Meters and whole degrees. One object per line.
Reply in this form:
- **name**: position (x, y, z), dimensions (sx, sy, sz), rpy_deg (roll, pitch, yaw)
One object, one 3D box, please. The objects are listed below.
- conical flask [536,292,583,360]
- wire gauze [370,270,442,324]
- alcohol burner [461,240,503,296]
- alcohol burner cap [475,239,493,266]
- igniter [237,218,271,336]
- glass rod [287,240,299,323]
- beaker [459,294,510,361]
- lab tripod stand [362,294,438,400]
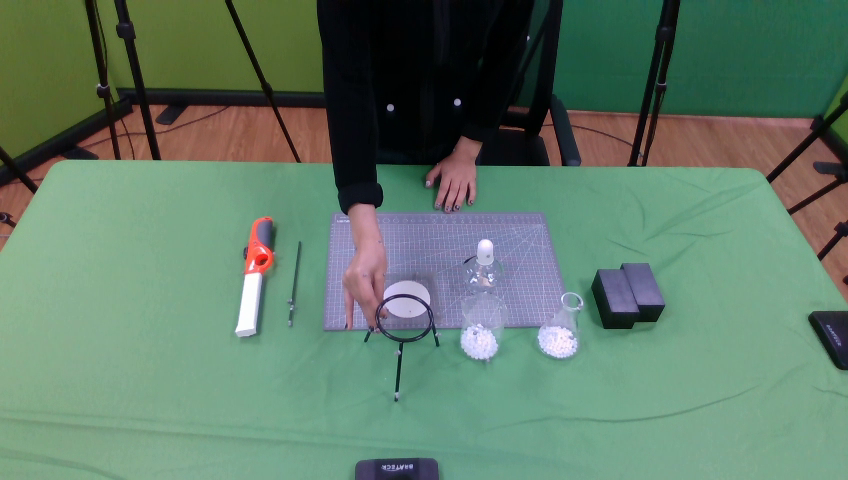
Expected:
- **conical flask**: position (0.234, 0.139, 1.015), dimensions (0.075, 0.122, 0.075), rpy_deg (2, 46, -2)
- **wire gauze**: position (-0.035, 0.105, 1.103), dimensions (0.125, 0.011, 0.120), rpy_deg (-3, 46, -4)
- **alcohol burner**: position (0.107, 0.045, 1.098), dimensions (0.078, 0.120, 0.077), rpy_deg (2, 44, -1)
- **alcohol burner cap**: position (0.107, 0.020, 1.072), dimensions (0.034, 0.048, 0.033), rpy_deg (-2, 45, 2)
- **igniter**: position (-0.312, 0.058, 1.115), dimensions (0.057, 0.025, 0.274), rpy_deg (-9, 46, 1)
- **glass rod**: position (-0.241, 0.072, 1.120), dimensions (0.008, 0.008, 0.198), rpy_deg (-1, 47, -4)
- **beaker**: position (0.095, 0.147, 1.012), dimensions (0.083, 0.101, 0.074), rpy_deg (26, 49, 21)
- **lab tripod stand**: position (-0.034, 0.157, 0.966), dimensions (0.148, 0.132, 0.147), rpy_deg (4, 45, -4)
